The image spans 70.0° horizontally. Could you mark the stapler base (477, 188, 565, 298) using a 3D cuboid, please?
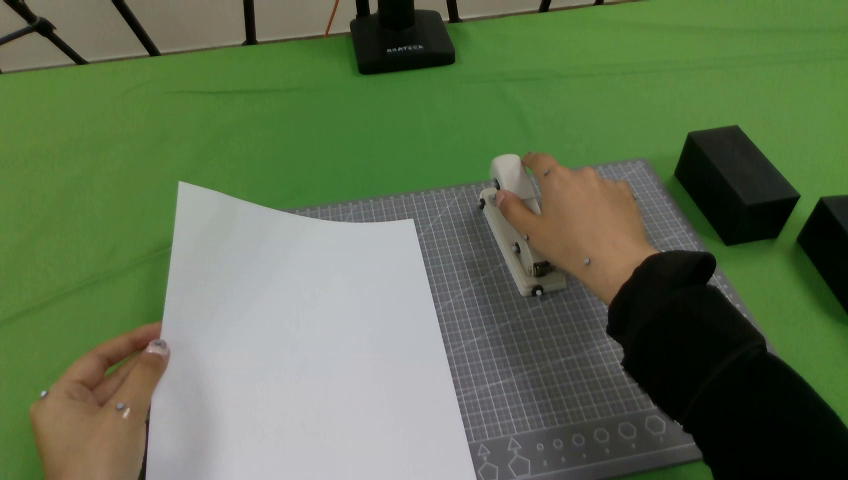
[{"bbox_3d":[0.083,-0.008,0.533,0.041,0.024,0.129,-13,50,-7],"label":"stapler base"}]

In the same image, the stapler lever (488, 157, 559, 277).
[{"bbox_3d":[0.083,-0.024,0.513,0.027,0.040,0.116,-13,50,-7],"label":"stapler lever"}]
